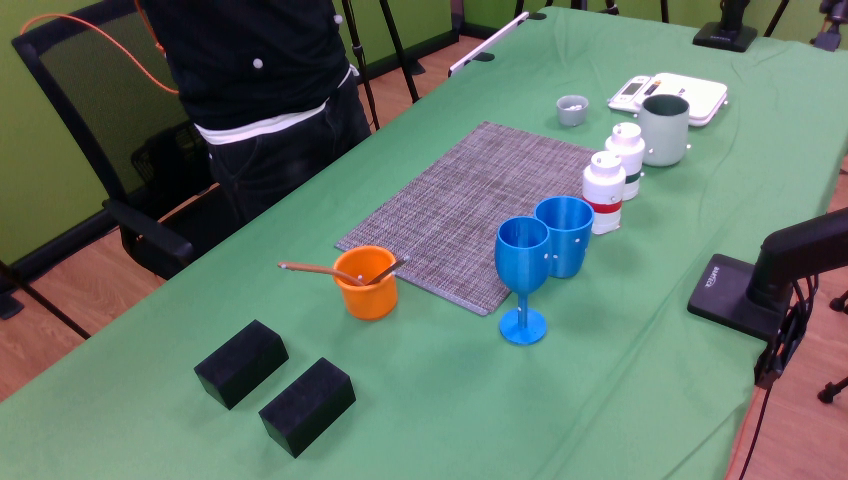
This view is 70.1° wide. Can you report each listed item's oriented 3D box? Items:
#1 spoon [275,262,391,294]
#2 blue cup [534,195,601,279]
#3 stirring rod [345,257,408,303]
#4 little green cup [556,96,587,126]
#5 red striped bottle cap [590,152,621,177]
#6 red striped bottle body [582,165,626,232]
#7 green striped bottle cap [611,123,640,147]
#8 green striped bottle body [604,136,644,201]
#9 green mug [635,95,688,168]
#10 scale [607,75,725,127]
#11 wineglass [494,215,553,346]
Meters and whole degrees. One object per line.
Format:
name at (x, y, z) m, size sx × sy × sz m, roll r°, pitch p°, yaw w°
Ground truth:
spoon at (-0.120, 0.050, 0.830) m, size 0.041 × 0.195 × 0.021 m, roll 31°, pitch 97°, yaw 45°
blue cup at (0.201, 0.000, 0.879) m, size 0.092 × 0.100 × 0.092 m, roll -3°, pitch 39°, yaw 3°
stirring rod at (-0.067, 0.057, 0.815) m, size 0.014 × 0.175 × 0.006 m, roll -24°, pitch 82°, yaw -38°
little green cup at (0.295, -0.258, 1.214) m, size 0.061 × 0.039 × 0.061 m, roll -4°, pitch 42°, yaw 4°
red striped bottle cap at (0.273, -0.114, 0.907) m, size 0.044 × 0.018 × 0.044 m, roll -5°, pitch 39°, yaw 4°
red striped bottle body at (0.279, -0.075, 0.942) m, size 0.063 × 0.120 × 0.062 m, roll -5°, pitch 41°, yaw 4°
green striped bottle cap at (0.322, -0.168, 0.963) m, size 0.044 × 0.020 × 0.044 m, roll -3°, pitch 41°, yaw 4°
green striped bottle body at (0.326, -0.128, 0.997) m, size 0.063 × 0.120 × 0.063 m, roll -4°, pitch 41°, yaw 4°
green mug at (0.421, -0.201, 1.081) m, size 0.092 × 0.105 × 0.125 m, roll 5°, pitch 42°, yaw 15°
scale at (0.490, -0.287, 1.226) m, size 0.199 × 0.032 × 0.149 m, roll 22°, pitch 48°, yaw 30°
wineglass at (0.127, 0.055, 0.770) m, size 0.074 × 0.173 × 0.073 m, roll -4°, pitch 40°, yaw 4°
